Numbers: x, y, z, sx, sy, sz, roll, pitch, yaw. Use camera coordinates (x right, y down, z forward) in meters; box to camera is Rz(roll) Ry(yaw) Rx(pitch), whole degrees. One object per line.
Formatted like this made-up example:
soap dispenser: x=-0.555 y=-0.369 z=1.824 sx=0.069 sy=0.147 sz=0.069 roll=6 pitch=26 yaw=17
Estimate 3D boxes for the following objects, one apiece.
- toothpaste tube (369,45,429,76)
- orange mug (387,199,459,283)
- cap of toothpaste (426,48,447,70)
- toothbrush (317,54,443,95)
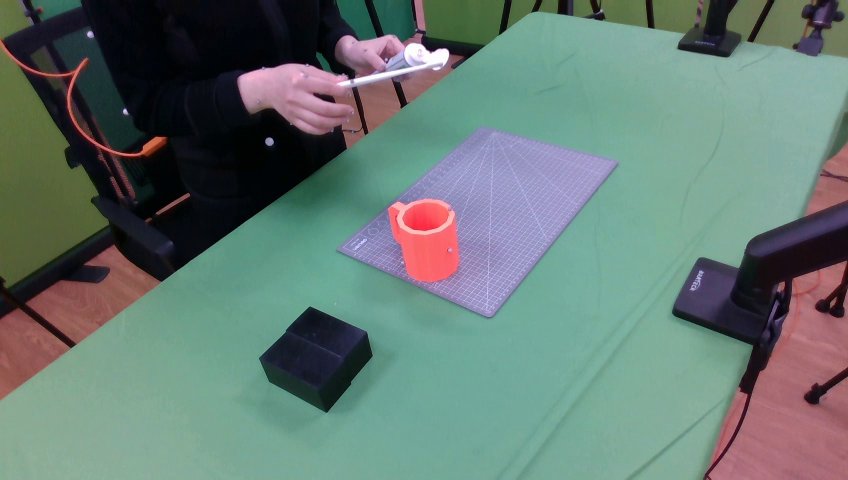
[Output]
toothpaste tube: x=-0.037 y=-0.282 z=0.973 sx=0.055 sy=0.034 sz=0.164 roll=-4 pitch=4 yaw=-26
orange mug: x=-0.006 y=-0.007 z=0.923 sx=0.125 sy=0.101 sz=0.084 roll=32 pitch=54 yaw=32
cap of toothpaste: x=0.019 y=-0.272 z=0.904 sx=0.037 sy=0.011 sz=0.037 roll=-19 pitch=60 yaw=37
toothbrush: x=-0.063 y=-0.229 z=0.842 sx=0.182 sy=0.016 sz=0.014 roll=-13 pitch=-3 yaw=7
